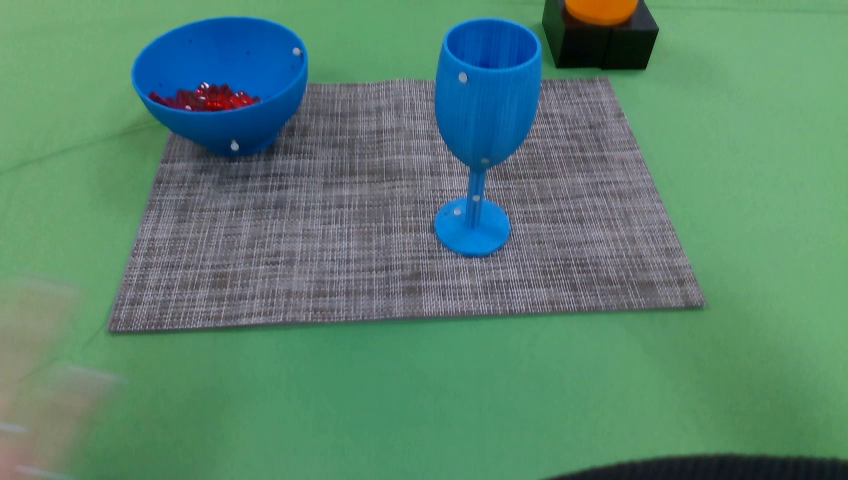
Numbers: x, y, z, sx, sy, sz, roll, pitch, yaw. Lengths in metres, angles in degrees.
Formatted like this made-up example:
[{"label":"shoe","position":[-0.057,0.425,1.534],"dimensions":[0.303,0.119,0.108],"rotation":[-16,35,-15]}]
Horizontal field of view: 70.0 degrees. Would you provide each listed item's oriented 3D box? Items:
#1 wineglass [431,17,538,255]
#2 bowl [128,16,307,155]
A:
[{"label":"wineglass","position":[0.039,-0.068,0.448],"dimensions":[0.074,0.174,0.073],"rotation":[1,49,-1]},{"label":"bowl","position":[-0.179,-0.132,0.557],"dimensions":[0.151,0.077,0.150],"rotation":[1,50,-1]}]
